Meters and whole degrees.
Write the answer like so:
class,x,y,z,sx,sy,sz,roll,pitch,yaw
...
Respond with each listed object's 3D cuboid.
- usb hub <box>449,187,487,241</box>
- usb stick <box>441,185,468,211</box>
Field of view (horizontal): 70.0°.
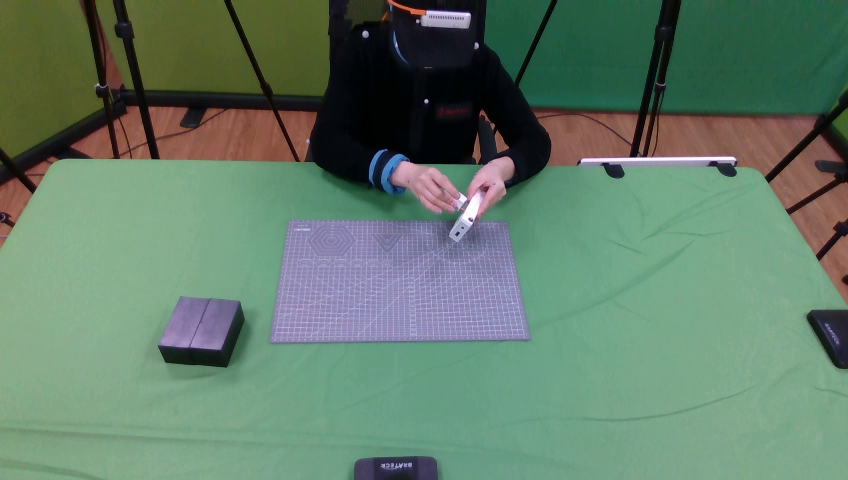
class,x,y,z,sx,sy,sz,roll,pitch,yaw
usb hub,0.086,-0.051,1.164,0.025,0.049,0.124,34,40,-4
usb stick,0.063,-0.076,1.150,0.059,0.027,0.021,38,36,4
